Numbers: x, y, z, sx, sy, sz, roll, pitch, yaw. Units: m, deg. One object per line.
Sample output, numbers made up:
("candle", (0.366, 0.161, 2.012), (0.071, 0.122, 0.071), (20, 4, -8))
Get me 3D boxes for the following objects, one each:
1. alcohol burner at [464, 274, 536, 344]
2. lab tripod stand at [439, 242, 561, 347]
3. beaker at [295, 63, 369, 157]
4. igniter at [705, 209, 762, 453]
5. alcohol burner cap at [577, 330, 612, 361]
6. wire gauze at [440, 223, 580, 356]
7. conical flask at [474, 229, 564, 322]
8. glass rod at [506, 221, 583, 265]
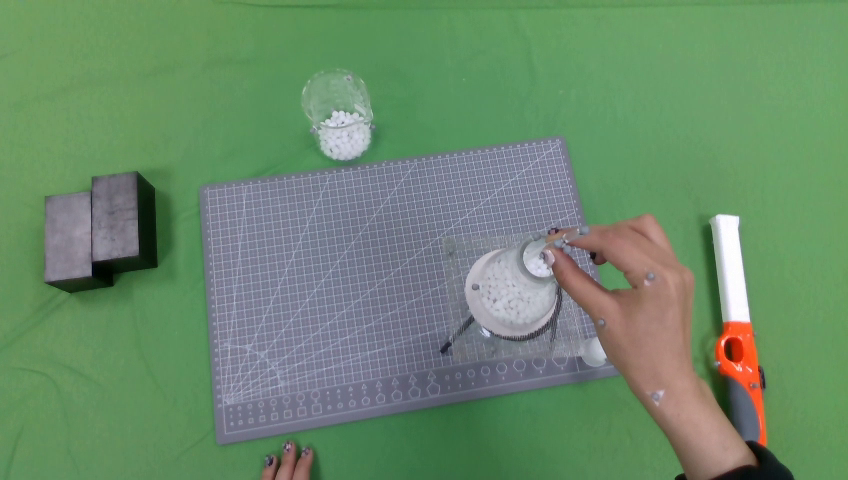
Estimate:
("alcohol burner", (0.082, 0.070, 0.640), (0.078, 0.119, 0.077), (0, 74, 0))
("lab tripod stand", (0.081, 0.066, 0.631), (0.148, 0.132, 0.147), (0, 76, -1))
("beaker", (-0.100, -0.145, 0.705), (0.084, 0.100, 0.074), (26, 75, 5))
("igniter", (0.351, 0.097, 0.690), (0.057, 0.025, 0.275), (5, 74, -11))
("alcohol burner cap", (0.191, 0.114, 0.668), (0.034, 0.048, 0.033), (0, 74, -1))
("wire gauze", (0.080, 0.046, 0.568), (0.125, 0.011, 0.121), (-3, 77, -5))
("conical flask", (0.085, 0.025, 0.512), (0.075, 0.122, 0.075), (1, 75, -2))
("glass rod", (0.087, 0.006, 0.469), (0.008, 0.200, 0.008), (1, 81, -5))
